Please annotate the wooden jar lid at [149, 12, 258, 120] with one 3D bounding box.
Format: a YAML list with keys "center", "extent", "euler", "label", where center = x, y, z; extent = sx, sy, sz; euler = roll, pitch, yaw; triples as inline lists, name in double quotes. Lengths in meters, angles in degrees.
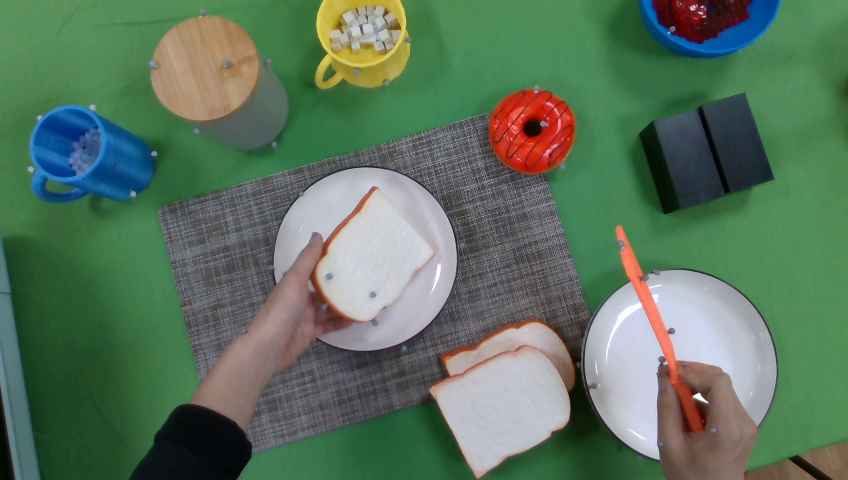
- center: [-0.217, -0.170, 0.602]
  extent: [0.108, 0.021, 0.108]
  euler: [0, 83, 3]
  label: "wooden jar lid"

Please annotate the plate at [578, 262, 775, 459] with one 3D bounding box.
- center: [0.272, 0.130, 0.666]
  extent: [0.209, 0.038, 0.208]
  euler: [0, 85, 3]
  label: "plate"

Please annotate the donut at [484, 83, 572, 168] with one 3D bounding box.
- center: [0.118, -0.129, 0.687]
  extent: [0.099, 0.048, 0.099]
  euler: [0, 86, 1]
  label: "donut"

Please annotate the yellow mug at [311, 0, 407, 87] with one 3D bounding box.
- center: [-0.082, -0.227, 0.695]
  extent: [0.100, 0.064, 0.131]
  euler: [42, 88, 5]
  label: "yellow mug"

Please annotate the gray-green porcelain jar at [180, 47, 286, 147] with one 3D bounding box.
- center: [-0.214, -0.164, 0.664]
  extent: [0.106, 0.127, 0.105]
  euler: [0, 84, 2]
  label: "gray-green porcelain jar"

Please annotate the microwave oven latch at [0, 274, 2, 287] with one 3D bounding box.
- center: [-0.501, 0.017, 0.683]
  extent: [0.030, 0.029, 0.079]
  euler: [-11, 85, 0]
  label: "microwave oven latch"

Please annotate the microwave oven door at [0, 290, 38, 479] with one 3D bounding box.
- center: [-0.459, 0.220, 0.561]
  extent: [0.039, 0.244, 0.355]
  euler: [-13, 84, 1]
  label: "microwave oven door"

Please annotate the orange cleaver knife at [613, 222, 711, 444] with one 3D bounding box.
- center: [0.212, 0.083, 0.542]
  extent: [0.012, 0.077, 0.212]
  euler: [-22, 103, 21]
  label: "orange cleaver knife"

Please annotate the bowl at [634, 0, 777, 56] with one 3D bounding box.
- center: [0.302, -0.270, 0.680]
  extent: [0.151, 0.077, 0.151]
  euler: [0, 85, 2]
  label: "bowl"

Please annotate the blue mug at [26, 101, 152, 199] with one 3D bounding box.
- center: [-0.379, -0.086, 0.672]
  extent: [0.116, 0.106, 0.082]
  euler: [-42, 84, -2]
  label: "blue mug"

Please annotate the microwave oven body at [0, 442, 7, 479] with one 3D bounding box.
- center: [-0.610, 0.212, 0.572]
  extent: [0.326, 0.260, 0.440]
  euler: [-13, 85, 0]
  label: "microwave oven body"

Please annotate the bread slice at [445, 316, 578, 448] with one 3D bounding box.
- center: [0.101, 0.140, 0.638]
  extent: [0.134, 0.018, 0.106]
  euler: [-21, 80, -28]
  label: "bread slice"

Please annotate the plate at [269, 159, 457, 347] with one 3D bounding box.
- center: [-0.067, 0.015, 0.683]
  extent: [0.207, 0.039, 0.207]
  euler: [0, 85, 2]
  label: "plate"

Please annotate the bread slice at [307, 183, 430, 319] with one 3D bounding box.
- center: [-0.058, 0.019, 0.643]
  extent: [0.105, 0.019, 0.131]
  euler: [49, 60, -20]
  label: "bread slice"
